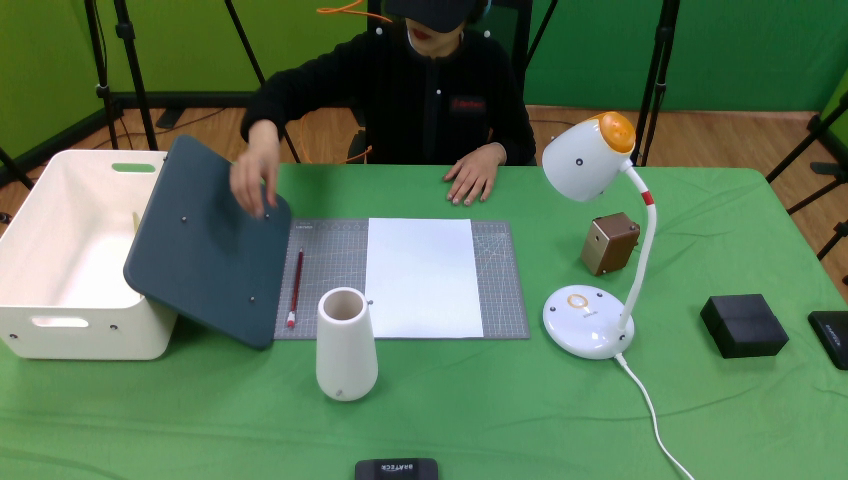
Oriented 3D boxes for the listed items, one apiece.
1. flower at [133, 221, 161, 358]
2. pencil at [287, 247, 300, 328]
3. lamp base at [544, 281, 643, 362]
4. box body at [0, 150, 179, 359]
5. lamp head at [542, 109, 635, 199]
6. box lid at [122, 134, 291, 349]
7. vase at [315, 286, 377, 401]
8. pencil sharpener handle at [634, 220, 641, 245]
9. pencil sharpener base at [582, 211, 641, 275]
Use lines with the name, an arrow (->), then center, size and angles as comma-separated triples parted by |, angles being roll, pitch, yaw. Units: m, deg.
flower -> -0.508, 0.071, 1.092 | 0.044, 0.038, 0.359 | -42, 45, 9
pencil -> -0.236, 0.080, 1.107 | 0.012, 0.012, 0.193 | 0, 45, -4
lamp base -> 0.303, 0.095, 1.014 | 0.161, 0.181, 0.178 | -24, 54, -24
box body -> -0.541, 0.021, 1.042 | 0.254, 0.161, 0.361 | 1, 46, -3
lamp head -> 0.253, -0.131, 0.893 | 0.113, 0.123, 0.112 | 10, 66, -24
box lid -> -0.355, -0.008, 1.060 | 0.015, 0.265, 0.369 | -33, 39, 26
vase -> -0.119, 0.159, 0.911 | 0.098, 0.201, 0.097 | 2, 47, -2
pencil sharpener handle -> 0.405, -0.015, 1.161 | 0.031, 0.068, 0.035 | -15, 43, -18
pencil sharpener base -> 0.357, 0.005, 1.156 | 0.077, 0.107, 0.061 | -15, 48, -18
